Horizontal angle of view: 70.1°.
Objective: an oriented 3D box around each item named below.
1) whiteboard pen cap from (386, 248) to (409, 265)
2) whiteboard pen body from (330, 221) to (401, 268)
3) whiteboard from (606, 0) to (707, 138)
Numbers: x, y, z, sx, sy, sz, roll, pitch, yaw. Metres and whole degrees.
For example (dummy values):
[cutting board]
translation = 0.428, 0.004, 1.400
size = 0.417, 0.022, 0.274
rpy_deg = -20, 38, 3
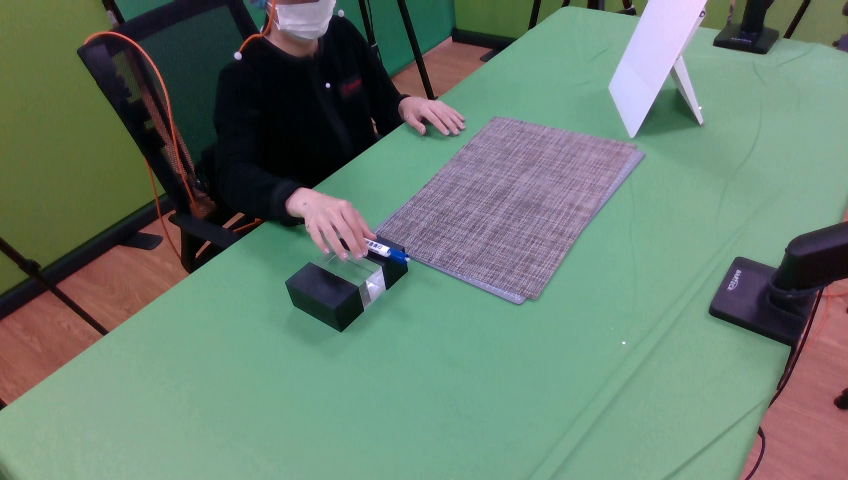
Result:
[whiteboard pen cap]
translation = -0.039, 0.023, 0.877
size = 0.033, 0.018, 0.018
rpy_deg = 23, 49, 28
[whiteboard pen body]
translation = -0.088, 0.008, 0.908
size = 0.140, 0.017, 0.017
rpy_deg = 31, 53, 26
[whiteboard]
translation = 0.496, -0.359, 1.147
size = 0.144, 0.305, 0.216
rpy_deg = 11, 40, -7
